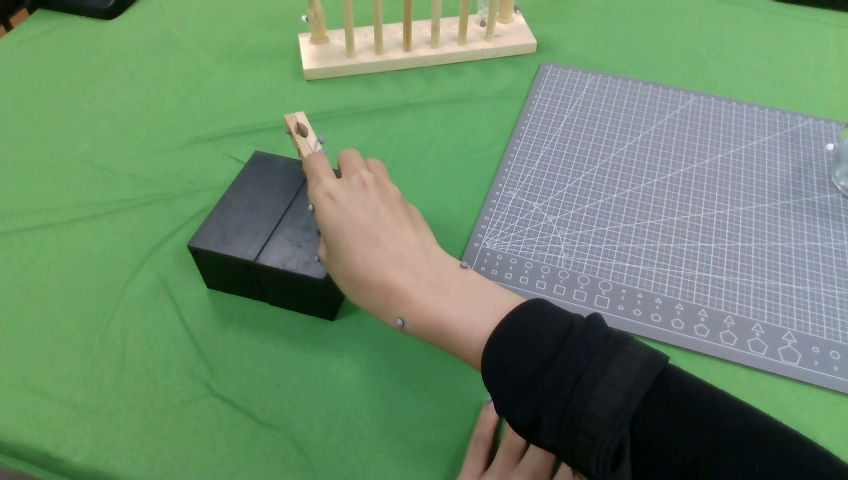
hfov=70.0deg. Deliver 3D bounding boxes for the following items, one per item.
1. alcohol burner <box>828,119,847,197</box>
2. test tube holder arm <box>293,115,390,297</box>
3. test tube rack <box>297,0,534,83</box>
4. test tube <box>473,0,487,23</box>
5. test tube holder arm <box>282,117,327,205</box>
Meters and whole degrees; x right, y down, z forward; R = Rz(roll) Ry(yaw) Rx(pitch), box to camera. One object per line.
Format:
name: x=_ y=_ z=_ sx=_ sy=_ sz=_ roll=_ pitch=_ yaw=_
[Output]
alcohol burner: x=0.376 y=-0.085 z=0.476 sx=0.078 sy=0.120 sz=0.077 roll=1 pitch=49 yaw=-1
test tube holder arm: x=-0.063 y=-0.031 z=0.433 sx=0.013 sy=0.015 sz=0.176 roll=-24 pitch=57 yaw=-13
test tube rack: x=-0.009 y=-0.229 z=0.615 sx=0.243 sy=0.086 sz=0.066 roll=-9 pitch=51 yaw=-8
test tube: x=0.055 y=-0.287 z=0.598 sx=0.017 sy=0.152 sz=0.017 roll=-3 pitch=48 yaw=4
test tube holder arm: x=-0.088 y=-0.061 z=0.456 sx=0.010 sy=0.015 sz=0.087 roll=-23 pitch=56 yaw=-13
